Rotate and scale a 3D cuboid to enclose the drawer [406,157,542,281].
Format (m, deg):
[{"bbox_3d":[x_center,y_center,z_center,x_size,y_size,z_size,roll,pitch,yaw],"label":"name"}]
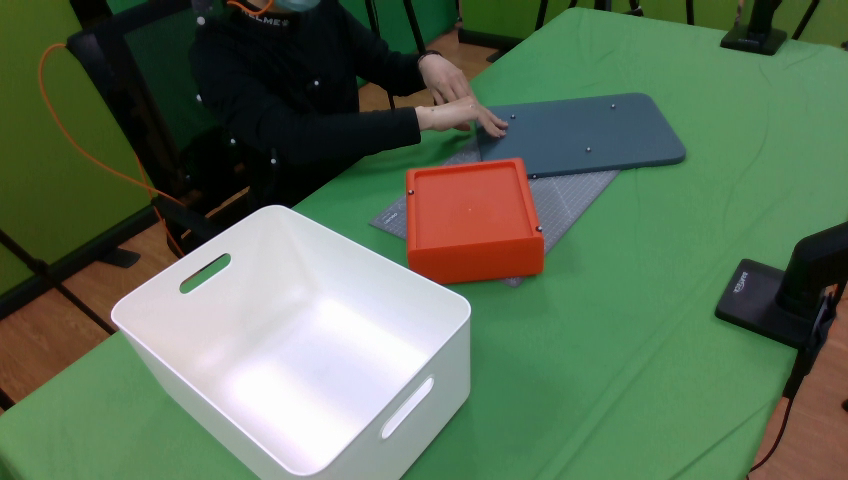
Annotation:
[{"bbox_3d":[0.072,-0.037,0.957,0.194,0.073,0.210,-5,41,1],"label":"drawer"}]

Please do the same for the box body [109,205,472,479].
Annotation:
[{"bbox_3d":[-0.147,0.135,0.726,0.361,0.161,0.255,25,50,32],"label":"box body"}]

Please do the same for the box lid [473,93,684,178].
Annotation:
[{"bbox_3d":[0.286,-0.207,1.180,0.372,0.015,0.262,-5,40,1],"label":"box lid"}]

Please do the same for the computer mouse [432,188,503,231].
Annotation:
[{"bbox_3d":[0.071,-0.051,0.994,0.117,0.041,0.062,-10,44,6],"label":"computer mouse"}]

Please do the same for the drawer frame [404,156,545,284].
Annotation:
[{"bbox_3d":[0.073,-0.036,0.953,0.202,0.083,0.212,-6,41,1],"label":"drawer frame"}]
